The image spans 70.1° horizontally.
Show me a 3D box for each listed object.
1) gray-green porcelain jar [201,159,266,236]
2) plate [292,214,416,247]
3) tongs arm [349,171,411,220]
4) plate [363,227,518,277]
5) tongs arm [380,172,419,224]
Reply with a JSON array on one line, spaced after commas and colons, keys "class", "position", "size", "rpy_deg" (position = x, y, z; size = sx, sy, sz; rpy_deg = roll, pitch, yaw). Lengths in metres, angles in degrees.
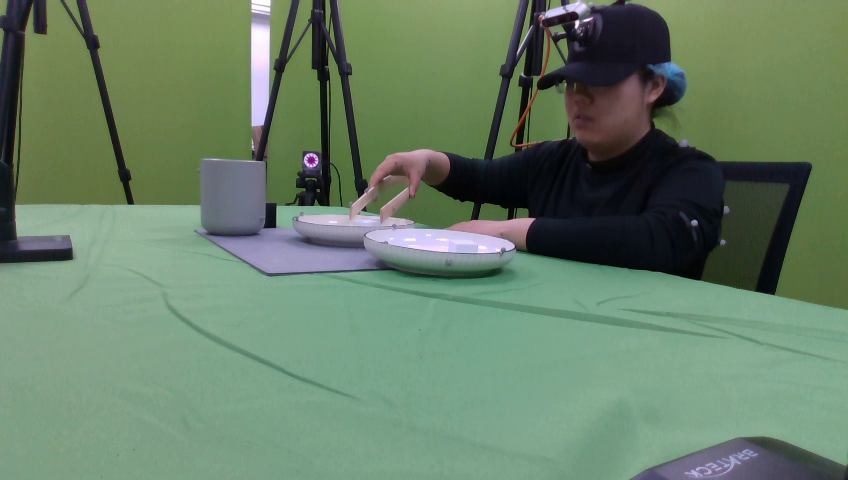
[{"class": "gray-green porcelain jar", "position": [-0.326, -0.073, 1.036], "size": [0.106, 0.126, 0.106], "rpy_deg": [3, 8, 0]}, {"class": "plate", "position": [-0.118, -0.017, 1.024], "size": [0.208, 0.039, 0.207], "rpy_deg": [3, 7, 0]}, {"class": "tongs arm", "position": [-0.075, -0.091, 1.151], "size": [0.051, 0.026, 0.385], "rpy_deg": [5, 15, 5]}, {"class": "plate", "position": [0.022, 0.016, 0.817], "size": [0.209, 0.038, 0.209], "rpy_deg": [4, 9, 0]}, {"class": "tongs arm", "position": [-0.043, -0.087, 1.147], "size": [0.028, 0.028, 0.387], "rpy_deg": [2, 15, 8]}]
